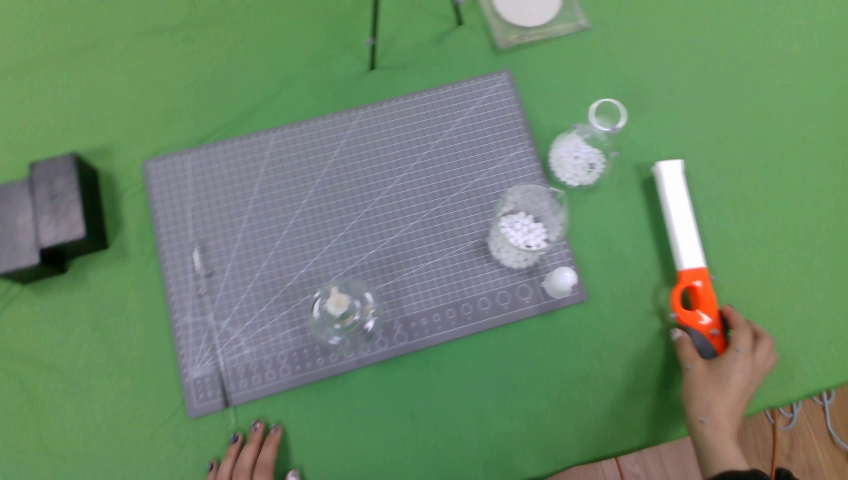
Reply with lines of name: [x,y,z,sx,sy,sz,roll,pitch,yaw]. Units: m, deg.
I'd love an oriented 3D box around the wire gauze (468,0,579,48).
wire gauze: [0.119,-0.307,0.768,0.125,0.011,0.121,-17,77,-7]

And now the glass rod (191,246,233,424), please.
glass rod: [-0.231,0.101,0.660,0.008,0.008,0.199,-15,80,-5]

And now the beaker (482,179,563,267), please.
beaker: [0.103,-0.015,0.647,0.084,0.100,0.073,-39,80,-10]

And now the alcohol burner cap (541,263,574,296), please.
alcohol burner cap: [0.148,0.041,0.663,0.034,0.048,0.033,0,75,-1]

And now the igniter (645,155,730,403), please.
igniter: [0.290,0.038,0.670,0.057,0.025,0.275,-6,77,-8]

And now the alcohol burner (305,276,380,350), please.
alcohol burner: [-0.086,0.071,0.615,0.078,0.119,0.077,0,75,1]

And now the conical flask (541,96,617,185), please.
conical flask: [0.175,-0.113,0.663,0.075,0.122,0.075,0,76,0]

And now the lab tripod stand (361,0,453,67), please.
lab tripod stand: [-0.037,-0.287,0.696,0.148,0.132,0.147,0,78,-1]
